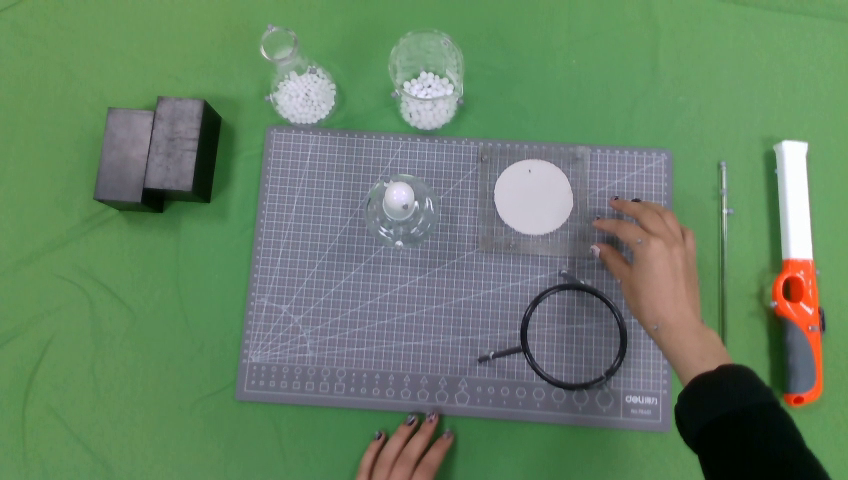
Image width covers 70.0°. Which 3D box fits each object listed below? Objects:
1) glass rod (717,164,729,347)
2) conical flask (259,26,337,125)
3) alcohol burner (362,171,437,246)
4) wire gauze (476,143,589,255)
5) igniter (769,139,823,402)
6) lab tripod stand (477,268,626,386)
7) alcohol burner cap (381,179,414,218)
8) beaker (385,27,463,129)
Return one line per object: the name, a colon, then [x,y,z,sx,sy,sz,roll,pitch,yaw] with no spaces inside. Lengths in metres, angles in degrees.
glass rod: [0.320,0.014,0.648,0.008,0.008,0.199,3,80,1]
conical flask: [-0.135,-0.174,0.627,0.075,0.122,0.075,0,81,1]
alcohol burner: [-0.025,-0.034,0.605,0.078,0.119,0.077,0,82,0]
wire gauze: [0.119,-0.047,0.659,0.125,0.011,0.121,2,82,-1]
igniter: [0.389,0.029,0.637,0.057,0.025,0.275,4,81,-10]
lab tripod stand: [0.124,0.091,0.574,0.148,0.132,0.148,0,82,1]
alcohol burner cap: [-0.024,-0.041,0.570,0.034,0.048,0.033,1,82,-5]
beaker: [0.004,-0.162,0.636,0.084,0.100,0.074,40,84,6]
